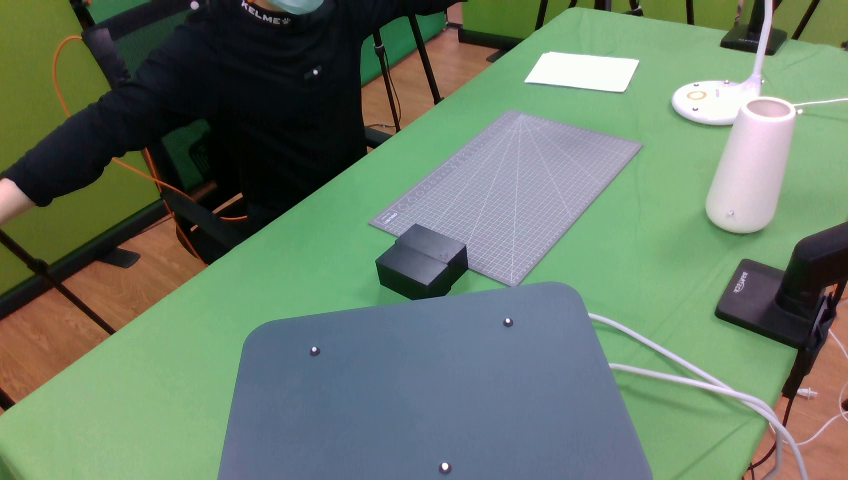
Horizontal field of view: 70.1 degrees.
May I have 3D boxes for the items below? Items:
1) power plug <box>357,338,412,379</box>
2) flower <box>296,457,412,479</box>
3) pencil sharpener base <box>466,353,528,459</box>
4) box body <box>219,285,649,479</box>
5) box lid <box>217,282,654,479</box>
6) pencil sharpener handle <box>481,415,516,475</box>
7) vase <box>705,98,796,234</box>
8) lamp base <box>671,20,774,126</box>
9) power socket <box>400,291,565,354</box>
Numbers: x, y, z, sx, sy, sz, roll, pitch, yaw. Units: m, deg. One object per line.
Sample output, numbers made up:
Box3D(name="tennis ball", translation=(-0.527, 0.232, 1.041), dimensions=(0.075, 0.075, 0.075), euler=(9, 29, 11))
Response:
Box3D(name="power plug", translation=(-0.053, 0.159, 0.798), dimensions=(0.073, 0.035, 0.052), euler=(20, 48, -16))
Box3D(name="flower", translation=(0.017, 0.270, 0.655), dimensions=(0.360, 0.038, 0.044), euler=(3, 18, 21))
Box3D(name="pencil sharpener base", translation=(0.081, 0.186, 0.665), dimensions=(0.061, 0.107, 0.076), euler=(-4, 42, 5))
Box3D(name="box body", translation=(0.005, 0.209, 0.619), dimensions=(0.364, 0.161, 0.252), euler=(-8, 40, -1))
Box3D(name="box lid", translation=(-0.004, 0.154, 0.571), dimensions=(0.372, 0.015, 0.261), euler=(-8, 40, -1))
Box3D(name="pencil sharpener handle", translation=(0.076, 0.211, 0.619), dimensions=(0.036, 0.068, 0.030), euler=(1, 42, 1))
Box3D(name="vase", translation=(0.480, -0.104, 0.889), dimensions=(0.098, 0.201, 0.097), euler=(-4, 42, 4))
Box3D(name="lamp base", translation=(0.581, -0.332, 1.154), dimensions=(0.179, 0.181, 0.160), euler=(2, 41, 7))
Box3D(name="power socket", translation=(0.079, 0.111, 0.823), dimensions=(0.227, 0.033, 0.072), euler=(-5, 41, 1))
